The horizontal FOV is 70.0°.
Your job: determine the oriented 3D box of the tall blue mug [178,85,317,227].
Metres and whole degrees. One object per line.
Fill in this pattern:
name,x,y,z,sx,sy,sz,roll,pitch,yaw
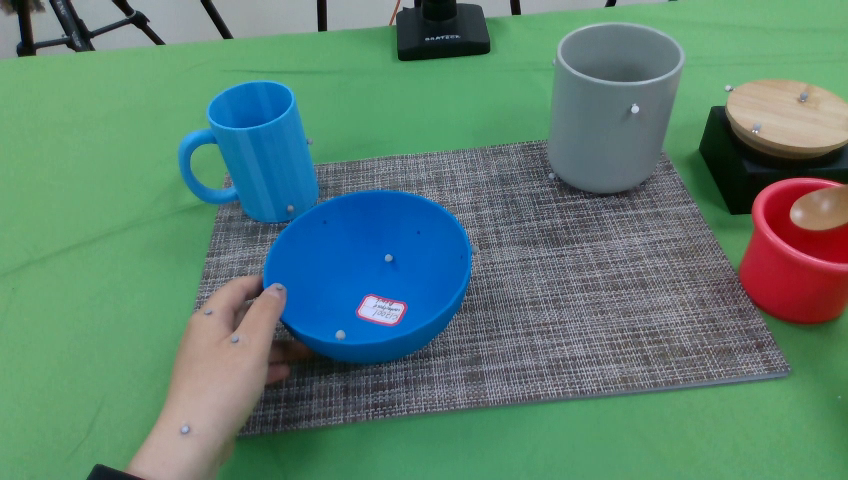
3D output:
tall blue mug,-0.157,-0.068,0.555,0.077,0.109,0.107,31,55,29

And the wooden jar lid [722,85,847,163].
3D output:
wooden jar lid,0.327,-0.105,0.549,0.108,0.021,0.107,-3,45,3

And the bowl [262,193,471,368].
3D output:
bowl,-0.039,0.042,0.459,0.151,0.077,0.150,-2,45,2

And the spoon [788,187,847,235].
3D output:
spoon,0.324,-0.040,0.380,0.022,0.193,0.041,35,64,-11

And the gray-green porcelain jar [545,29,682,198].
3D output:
gray-green porcelain jar,0.168,-0.111,0.558,0.106,0.128,0.105,-2,46,3
